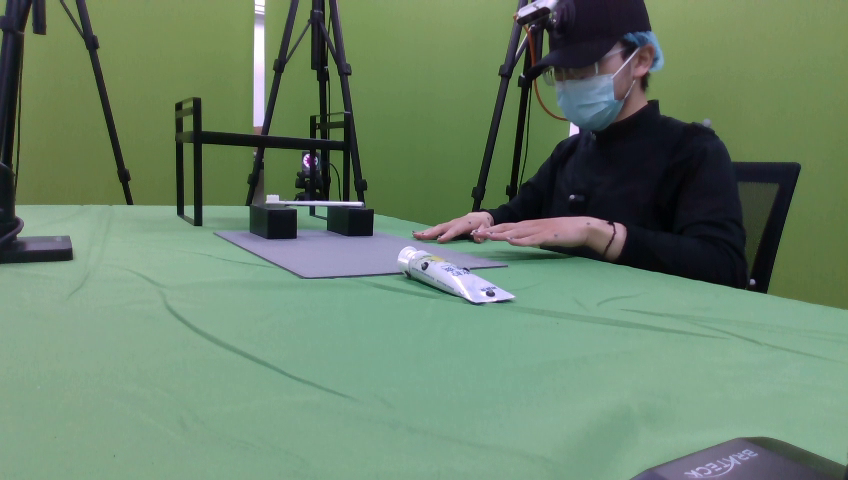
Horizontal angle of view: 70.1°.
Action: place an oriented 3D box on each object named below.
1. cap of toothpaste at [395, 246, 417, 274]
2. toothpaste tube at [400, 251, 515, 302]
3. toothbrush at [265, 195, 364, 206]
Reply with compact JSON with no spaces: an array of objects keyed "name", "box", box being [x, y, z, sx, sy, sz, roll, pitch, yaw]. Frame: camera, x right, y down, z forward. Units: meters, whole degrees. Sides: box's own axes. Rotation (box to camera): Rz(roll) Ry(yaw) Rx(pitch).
[{"name":"cap of toothpaste","box":[-0.018,0.025,0.738,0.037,0.037,0.011,-4,11,-41]},{"name":"toothpaste tube","box":[0.026,0.041,0.673,0.055,0.034,0.164,-10,17,-34]},{"name":"toothbrush","box":[-0.194,-0.069,1.089,0.183,0.016,0.014,0,-6,-27]}]
